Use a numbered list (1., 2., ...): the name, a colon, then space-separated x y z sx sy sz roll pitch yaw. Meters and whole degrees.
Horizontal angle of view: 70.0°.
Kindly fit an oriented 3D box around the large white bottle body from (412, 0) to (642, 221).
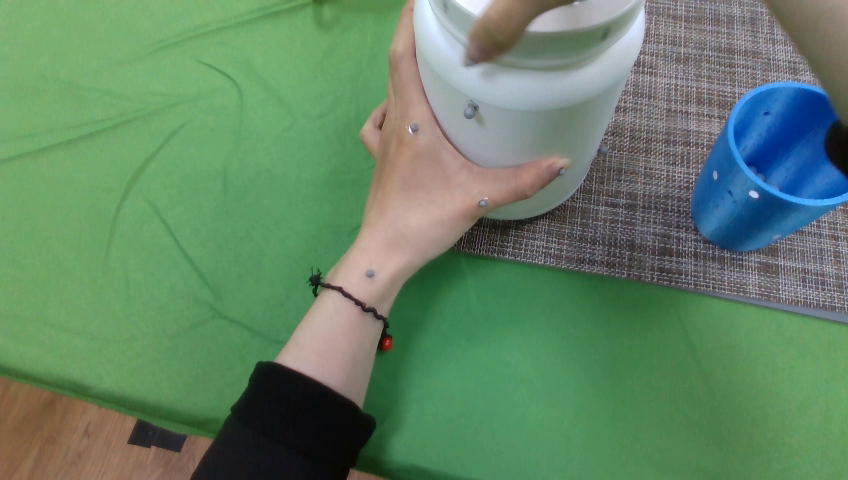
1. large white bottle body: 0.058 -0.107 0.384 0.130 0.186 0.129 0 66 1

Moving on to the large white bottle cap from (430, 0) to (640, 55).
1. large white bottle cap: 0.056 -0.143 0.307 0.115 0.018 0.114 0 66 1

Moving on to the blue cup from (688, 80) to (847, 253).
1. blue cup: 0.220 -0.038 0.397 0.092 0.101 0.092 -1 66 3
